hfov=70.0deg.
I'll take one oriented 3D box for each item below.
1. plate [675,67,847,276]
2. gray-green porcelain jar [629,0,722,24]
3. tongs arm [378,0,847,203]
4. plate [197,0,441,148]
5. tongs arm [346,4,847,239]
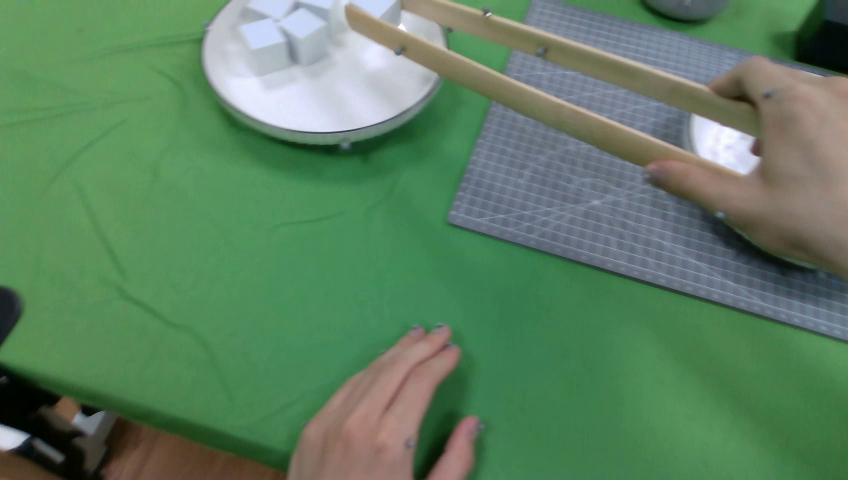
[{"bbox_3d":[0.309,-0.058,0.503,0.209,0.038,0.207,2,57,-3],"label":"plate"},{"bbox_3d":[0.262,-0.290,0.597,0.106,0.127,0.105,2,57,-3],"label":"gray-green porcelain jar"},{"bbox_3d":[0.097,-0.111,0.418,0.381,0.027,0.050,28,65,27],"label":"tongs arm"},{"bbox_3d":[-0.089,-0.157,0.536,0.208,0.039,0.205,2,58,-3],"label":"plate"},{"bbox_3d":[0.081,-0.095,0.411,0.384,0.028,0.028,33,64,29],"label":"tongs arm"}]
